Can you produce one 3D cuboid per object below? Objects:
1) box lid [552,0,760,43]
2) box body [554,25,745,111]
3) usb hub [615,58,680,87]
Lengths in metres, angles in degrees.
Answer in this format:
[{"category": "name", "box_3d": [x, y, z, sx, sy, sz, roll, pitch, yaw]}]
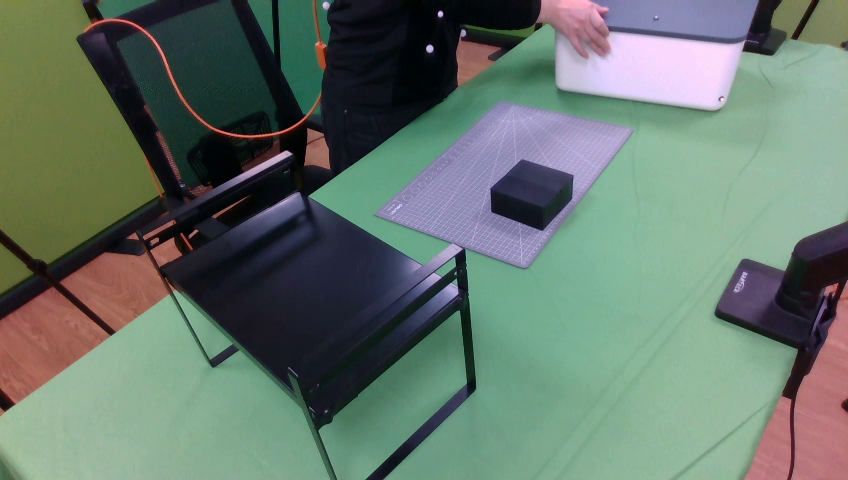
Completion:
[{"category": "box lid", "box_3d": [0.471, -0.473, 1.233, 0.369, 0.015, 0.263, 15, 45, 24]}, {"category": "box body", "box_3d": [0.481, -0.417, 1.281, 0.362, 0.161, 0.254, 15, 46, 24]}, {"category": "usb hub", "box_3d": [0.484, -0.363, 1.311, 0.124, 0.025, 0.049, 22, 46, 27]}]
